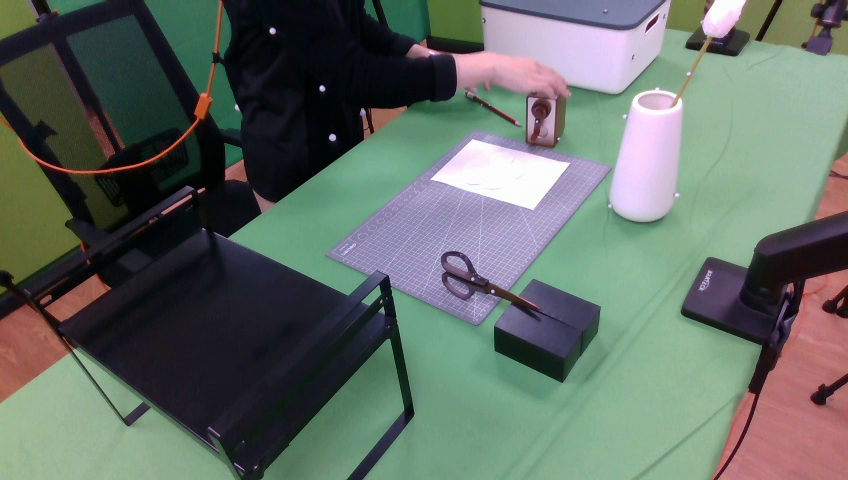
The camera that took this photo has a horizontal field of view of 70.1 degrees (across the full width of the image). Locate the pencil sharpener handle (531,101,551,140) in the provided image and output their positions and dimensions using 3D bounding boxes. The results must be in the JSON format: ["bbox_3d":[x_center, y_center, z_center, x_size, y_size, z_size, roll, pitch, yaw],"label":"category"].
[{"bbox_3d":[0.211,-0.220,1.118,0.036,0.068,0.030,17,46,17],"label":"pencil sharpener handle"}]

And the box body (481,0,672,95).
[{"bbox_3d":[0.341,-0.480,1.381,0.361,0.161,0.255,22,48,30],"label":"box body"}]

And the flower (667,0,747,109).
[{"bbox_3d":[0.354,-0.187,0.879,0.038,0.362,0.044,30,48,14],"label":"flower"}]

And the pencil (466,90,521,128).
[{"bbox_3d":[0.148,-0.281,1.296,0.012,0.012,0.192,-26,46,-21],"label":"pencil"}]

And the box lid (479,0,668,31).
[{"bbox_3d":[0.335,-0.536,1.331,0.368,0.015,0.264,23,49,30],"label":"box lid"}]

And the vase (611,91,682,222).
[{"bbox_3d":[0.348,-0.125,0.935,0.098,0.201,0.097,-3,40,3],"label":"vase"}]

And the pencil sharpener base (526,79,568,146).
[{"bbox_3d":[0.235,-0.242,1.160,0.061,0.107,0.077,12,45,21],"label":"pencil sharpener base"}]

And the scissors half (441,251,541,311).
[{"bbox_3d":[0.087,0.056,0.824,0.173,0.040,0.013,29,44,36],"label":"scissors half"}]

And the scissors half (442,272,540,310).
[{"bbox_3d":[0.089,0.074,0.832,0.013,0.040,0.173,-24,23,-38],"label":"scissors half"}]
